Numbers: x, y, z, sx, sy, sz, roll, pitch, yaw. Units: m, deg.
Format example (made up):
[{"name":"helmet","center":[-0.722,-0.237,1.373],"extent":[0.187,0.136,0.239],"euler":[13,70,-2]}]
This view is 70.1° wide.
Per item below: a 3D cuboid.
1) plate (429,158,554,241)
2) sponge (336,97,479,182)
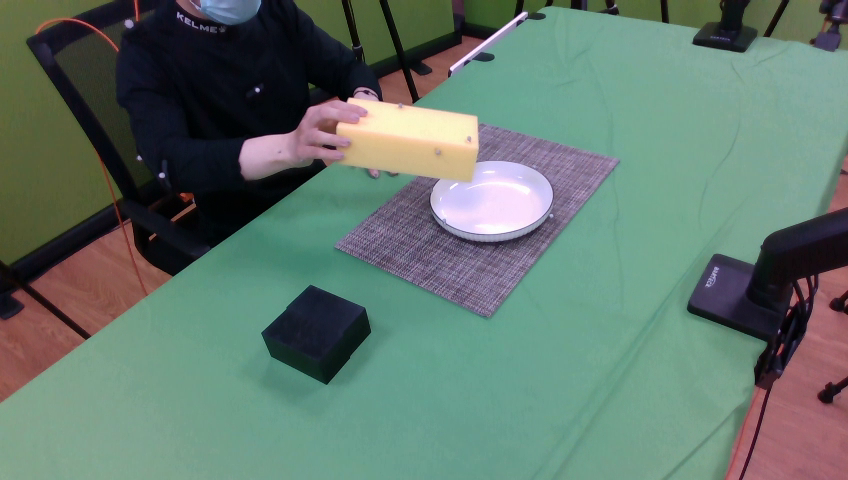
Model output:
[{"name":"plate","center":[0.112,-0.065,1.011],"extent":[0.207,0.039,0.206],"euler":[-4,41,4]},{"name":"sponge","center":[-0.022,-0.155,0.926],"extent":[0.207,0.061,0.117],"euler":[8,35,-4]}]
